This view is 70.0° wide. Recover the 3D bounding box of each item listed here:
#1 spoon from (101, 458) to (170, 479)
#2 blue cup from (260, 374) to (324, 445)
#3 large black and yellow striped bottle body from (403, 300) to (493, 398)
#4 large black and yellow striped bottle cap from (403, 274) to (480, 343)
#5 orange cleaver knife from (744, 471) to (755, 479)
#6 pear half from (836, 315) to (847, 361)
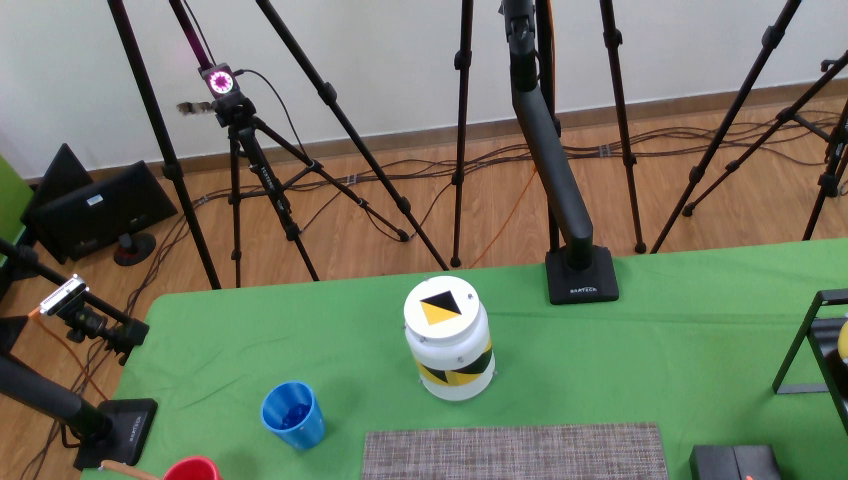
[{"bbox_3d":[-0.388,0.364,0.910,0.195,0.021,0.041,31,48,-18],"label":"spoon"},{"bbox_3d":[-0.202,0.281,0.967,0.092,0.101,0.091,-5,50,7],"label":"blue cup"},{"bbox_3d":[0.039,0.155,0.966,0.130,0.186,0.129,-6,48,8],"label":"large black and yellow striped bottle body"},{"bbox_3d":[0.025,0.100,0.903,0.115,0.019,0.114,-7,49,9],"label":"large black and yellow striped bottle cap"},{"bbox_3d":[0.410,0.391,0.726,0.012,0.077,0.210,-6,84,7],"label":"orange cleaver knife"},{"bbox_3d":[0.510,0.105,0.715,0.031,0.089,0.070,25,62,29],"label":"pear half"}]
